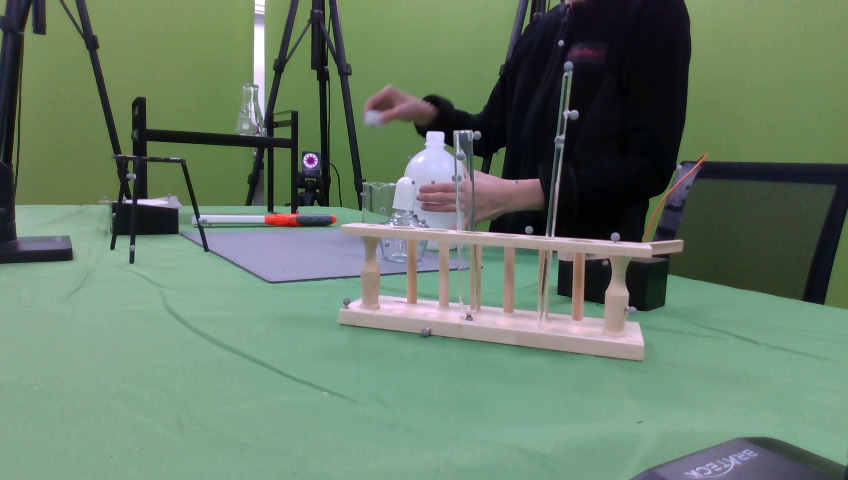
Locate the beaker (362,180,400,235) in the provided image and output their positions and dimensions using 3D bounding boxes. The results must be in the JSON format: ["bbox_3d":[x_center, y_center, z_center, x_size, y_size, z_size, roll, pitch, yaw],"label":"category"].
[{"bbox_3d":[-0.081,-0.062,1.142,0.074,0.100,0.084,2,8,1],"label":"beaker"}]

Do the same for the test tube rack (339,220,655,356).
[{"bbox_3d":[0.056,0.032,0.495,0.242,0.085,0.067,4,7,15],"label":"test tube rack"}]

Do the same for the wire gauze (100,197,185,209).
[{"bbox_3d":[-0.469,-0.062,1.008,0.126,0.011,0.121,-2,8,-25],"label":"wire gauze"}]

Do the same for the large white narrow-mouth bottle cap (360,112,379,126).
[{"bbox_3d":[-0.101,-0.224,1.124,0.038,0.024,0.037,2,8,0],"label":"large white narrow-mouth bottle cap"}]

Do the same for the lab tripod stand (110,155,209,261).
[{"bbox_3d":[-0.361,-0.046,0.806,0.148,0.131,0.148,2,5,0],"label":"lab tripod stand"}]

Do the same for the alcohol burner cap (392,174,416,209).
[{"bbox_3d":[-0.025,-0.067,0.834,0.034,0.048,0.034,8,7,-1],"label":"alcohol burner cap"}]

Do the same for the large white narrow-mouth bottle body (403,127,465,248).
[{"bbox_3d":[0.017,-0.088,1.001,0.102,0.194,0.102,2,8,0],"label":"large white narrow-mouth bottle body"}]

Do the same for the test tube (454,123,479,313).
[{"bbox_3d":[0.034,-0.016,0.477,0.017,0.150,0.017,-2,9,1],"label":"test tube"}]

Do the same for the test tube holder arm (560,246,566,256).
[{"bbox_3d":[0.173,0.007,0.611,0.088,0.015,0.010,-3,9,-30],"label":"test tube holder arm"}]

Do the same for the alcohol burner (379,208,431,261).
[{"bbox_3d":[-0.027,-0.031,0.838,0.078,0.119,0.078,0,6,0],"label":"alcohol burner"}]

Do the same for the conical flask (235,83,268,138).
[{"bbox_3d":[-0.402,-0.299,1.406,0.075,0.122,0.075,2,7,0],"label":"conical flask"}]

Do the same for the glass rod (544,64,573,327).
[{"bbox_3d":[0.101,-0.028,0.453,0.008,0.199,0.008,1,14,0],"label":"glass rod"}]

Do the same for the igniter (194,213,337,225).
[{"bbox_3d":[-0.306,-0.042,1.196,0.278,0.025,0.057,-2,-2,-31],"label":"igniter"}]

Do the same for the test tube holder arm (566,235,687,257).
[{"bbox_3d":[0.215,0.006,0.630,0.179,0.015,0.013,-3,9,-31],"label":"test tube holder arm"}]
